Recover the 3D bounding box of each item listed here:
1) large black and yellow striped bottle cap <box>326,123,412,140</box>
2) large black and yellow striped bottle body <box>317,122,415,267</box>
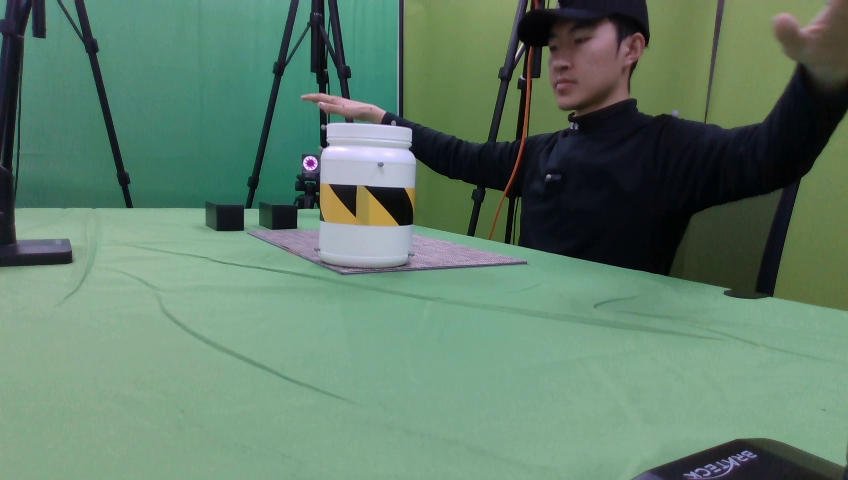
[{"bbox_3d":[-0.074,-0.145,0.812,0.115,0.019,0.115,1,7,0],"label":"large black and yellow striped bottle cap"},{"bbox_3d":[-0.078,-0.063,0.824,0.131,0.184,0.130,2,7,0],"label":"large black and yellow striped bottle body"}]
